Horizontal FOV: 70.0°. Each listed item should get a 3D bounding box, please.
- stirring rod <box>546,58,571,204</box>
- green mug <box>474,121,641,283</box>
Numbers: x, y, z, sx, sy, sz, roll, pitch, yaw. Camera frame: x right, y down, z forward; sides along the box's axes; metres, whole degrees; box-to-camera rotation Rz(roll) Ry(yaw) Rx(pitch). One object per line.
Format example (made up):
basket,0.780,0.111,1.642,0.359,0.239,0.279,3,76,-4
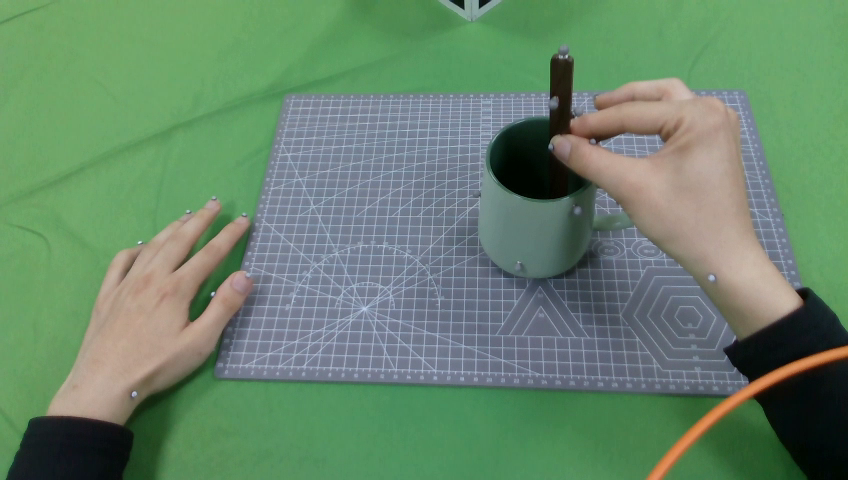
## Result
stirring rod,0.092,-0.057,0.422,0.014,0.178,0.006,15,62,20
green mug,0.101,-0.026,0.463,0.125,0.106,0.092,2,58,6
